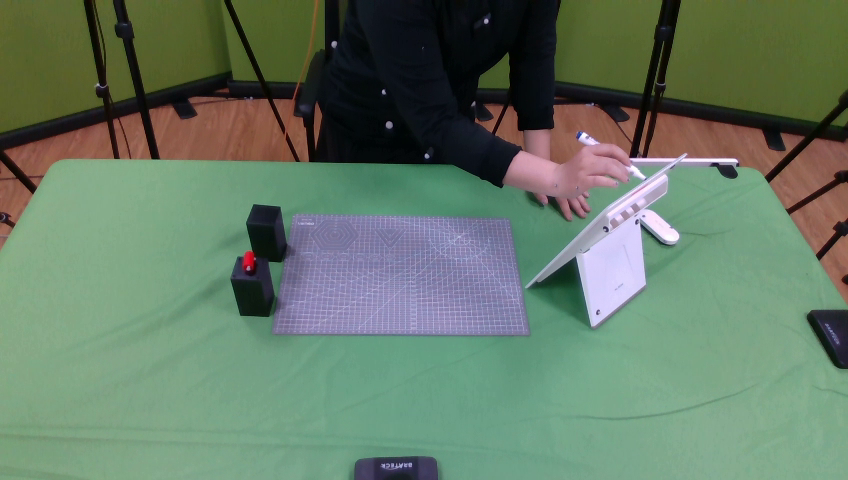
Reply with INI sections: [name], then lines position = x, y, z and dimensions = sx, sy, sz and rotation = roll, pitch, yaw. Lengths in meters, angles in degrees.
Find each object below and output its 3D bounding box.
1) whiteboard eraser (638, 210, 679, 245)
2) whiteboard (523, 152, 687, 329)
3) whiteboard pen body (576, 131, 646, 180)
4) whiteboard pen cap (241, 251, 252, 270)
[whiteboard eraser]
position = 0.486, -0.026, 1.260
dimensions = 0.041, 0.019, 0.100
rotation = -20, 50, -20
[whiteboard]
position = 0.347, 0.025, 1.046
dimensions = 0.217, 0.306, 0.143
rotation = -30, 74, -29
[whiteboard pen body]
position = 0.312, -0.137, 1.004
dimensions = 0.140, 0.017, 0.017
rotation = 36, 52, 9
[whiteboard pen cap]
position = -0.293, 0.033, 1.006
dimensions = 0.017, 0.017, 0.032
rotation = -3, 44, -7
